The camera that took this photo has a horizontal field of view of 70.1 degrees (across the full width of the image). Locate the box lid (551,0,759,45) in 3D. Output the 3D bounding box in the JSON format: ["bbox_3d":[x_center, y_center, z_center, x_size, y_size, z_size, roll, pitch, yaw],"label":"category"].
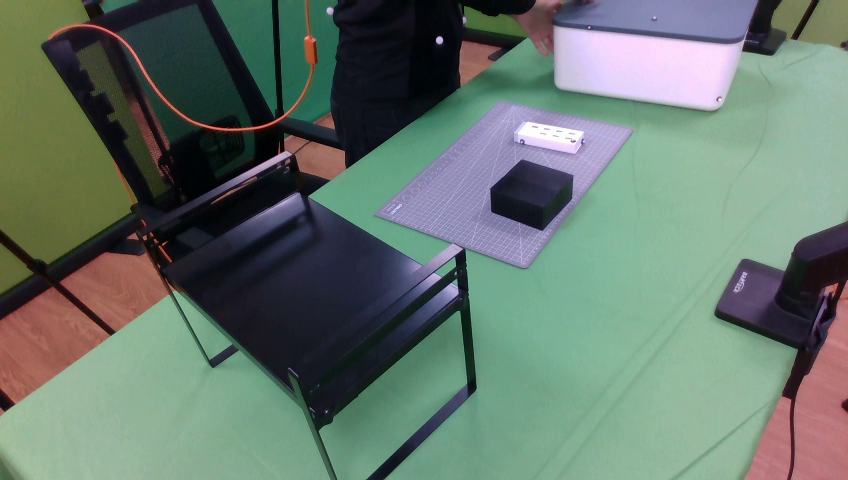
[{"bbox_3d":[0.469,-0.473,1.235,0.369,0.015,0.263,16,46,25],"label":"box lid"}]

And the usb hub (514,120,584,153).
[{"bbox_3d":[0.241,-0.200,1.165,0.124,0.025,0.049,17,46,26],"label":"usb hub"}]

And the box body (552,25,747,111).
[{"bbox_3d":[0.479,-0.418,1.282,0.362,0.161,0.254,16,46,25],"label":"box body"}]
